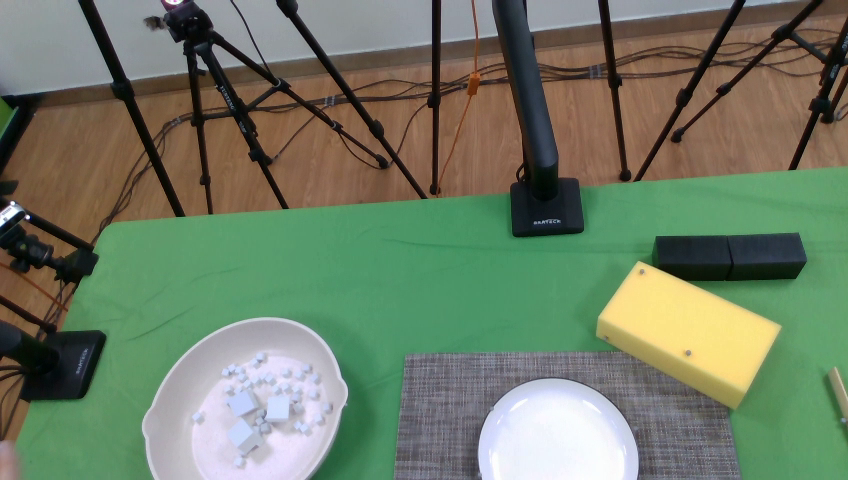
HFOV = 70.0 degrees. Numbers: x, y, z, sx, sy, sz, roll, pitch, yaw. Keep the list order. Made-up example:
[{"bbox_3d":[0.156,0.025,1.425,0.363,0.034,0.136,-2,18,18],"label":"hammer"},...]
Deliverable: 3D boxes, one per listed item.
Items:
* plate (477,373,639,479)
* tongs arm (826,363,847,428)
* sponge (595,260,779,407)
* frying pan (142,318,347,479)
[{"bbox_3d":[0.174,0.281,0.802,0.207,0.039,0.205,-6,55,9],"label":"plate"},{"bbox_3d":[0.555,0.326,0.703,0.028,0.028,0.383,-7,56,5],"label":"tongs arm"},{"bbox_3d":[0.364,0.126,0.855,0.205,0.061,0.118,27,63,28],"label":"sponge"},{"bbox_3d":[-0.249,0.332,0.820,0.306,0.104,0.482,-9,46,6],"label":"frying pan"}]
